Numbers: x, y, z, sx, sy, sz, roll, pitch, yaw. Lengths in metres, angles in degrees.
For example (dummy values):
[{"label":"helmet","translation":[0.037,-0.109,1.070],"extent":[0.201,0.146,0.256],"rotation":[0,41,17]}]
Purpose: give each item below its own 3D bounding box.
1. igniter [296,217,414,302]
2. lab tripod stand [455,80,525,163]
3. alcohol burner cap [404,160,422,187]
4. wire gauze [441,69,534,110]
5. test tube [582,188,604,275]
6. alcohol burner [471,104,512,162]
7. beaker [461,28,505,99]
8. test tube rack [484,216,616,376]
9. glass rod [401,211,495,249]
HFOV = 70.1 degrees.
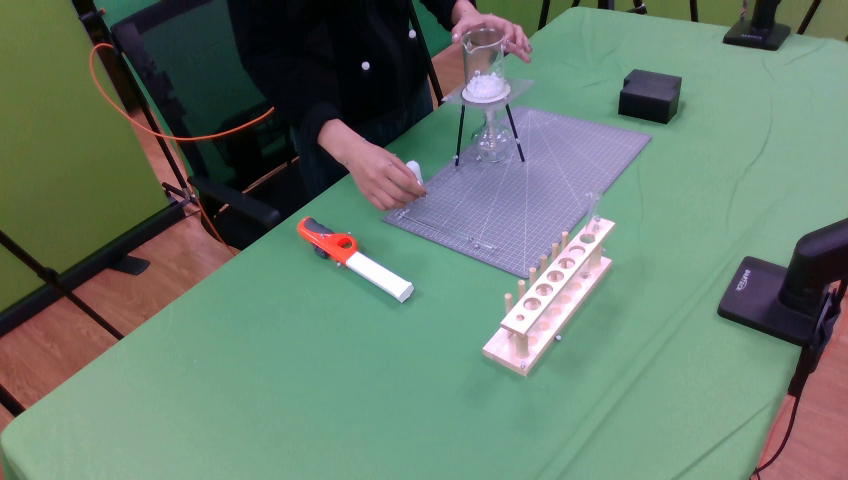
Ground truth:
[{"label":"igniter","translation":[-0.121,0.025,0.970],"extent":[0.274,0.025,0.057],"rotation":[29,63,37]},{"label":"lab tripod stand","translation":[0.120,-0.219,1.126],"extent":[0.148,0.132,0.147],"rotation":[-4,39,4]},{"label":"alcohol burner cap","translation":[-0.023,-0.125,1.118],"extent":[0.034,0.048,0.033],"rotation":[-4,40,4]},{"label":"wire gauze","translation":[0.114,-0.268,1.082],"extent":[0.120,0.011,0.125],"rotation":[22,47,29]},{"label":"test tube","translation":[0.228,-0.007,0.821],"extent":[0.017,0.151,0.017],"rotation":[-3,42,3]},{"label":"alcohol burner","translation":[0.125,-0.207,1.126],"extent":[0.078,0.119,0.077],"rotation":[-5,43,5]},{"label":"beaker","translation":[0.103,-0.304,1.051],"extent":[0.073,0.101,0.084],"rotation":[19,48,29]},{"label":"test tube rack","translation":[0.174,0.064,0.823],"extent":[0.066,0.085,0.243],"rotation":[23,49,33]},{"label":"glass rod","translation":[0.035,-0.018,1.001],"extent":[0.198,0.008,0.008],"rotation":[22,50,35]}]
